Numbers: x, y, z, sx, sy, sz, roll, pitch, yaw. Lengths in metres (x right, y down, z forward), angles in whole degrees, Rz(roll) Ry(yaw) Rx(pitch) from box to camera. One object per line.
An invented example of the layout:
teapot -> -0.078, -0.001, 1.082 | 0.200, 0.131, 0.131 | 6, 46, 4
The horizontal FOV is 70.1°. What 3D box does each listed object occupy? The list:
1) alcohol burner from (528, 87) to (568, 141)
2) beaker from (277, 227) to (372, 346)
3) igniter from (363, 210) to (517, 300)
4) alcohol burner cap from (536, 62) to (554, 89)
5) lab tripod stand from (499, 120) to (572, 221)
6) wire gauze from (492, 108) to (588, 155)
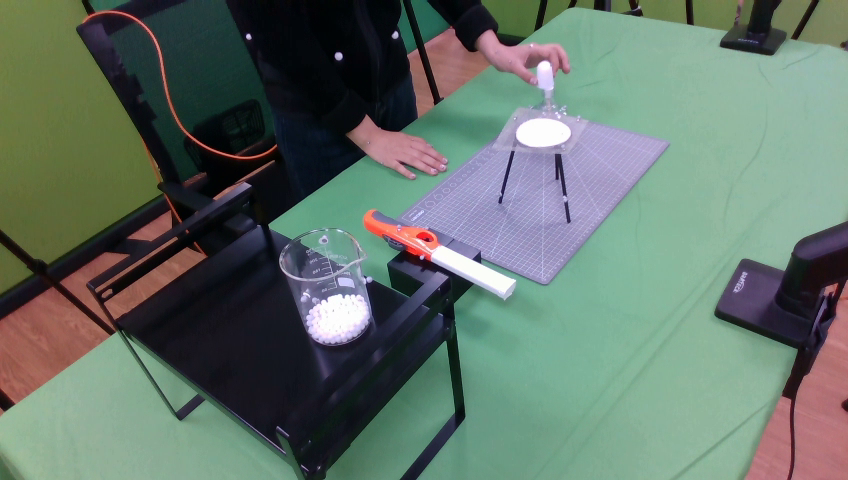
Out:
alcohol burner -> 0.238, -0.253, 1.163 | 0.078, 0.119, 0.077 | -6, 40, 6
beaker -> -0.090, 0.048, 0.593 | 0.084, 0.101, 0.073 | -3, 41, 5
igniter -> 0.012, 0.015, 0.880 | 0.274, 0.025, 0.057 | 26, 48, 30
alcohol burner cap -> 0.223, -0.308, 1.124 | 0.034, 0.048, 0.033 | -9, 40, 8
lab tripod stand -> 0.198, -0.117, 0.992 | 0.148, 0.132, 0.147 | -3, 40, 3
wire gauze -> 0.185, -0.170, 0.953 | 0.121, 0.011, 0.125 | 13, 44, 22
